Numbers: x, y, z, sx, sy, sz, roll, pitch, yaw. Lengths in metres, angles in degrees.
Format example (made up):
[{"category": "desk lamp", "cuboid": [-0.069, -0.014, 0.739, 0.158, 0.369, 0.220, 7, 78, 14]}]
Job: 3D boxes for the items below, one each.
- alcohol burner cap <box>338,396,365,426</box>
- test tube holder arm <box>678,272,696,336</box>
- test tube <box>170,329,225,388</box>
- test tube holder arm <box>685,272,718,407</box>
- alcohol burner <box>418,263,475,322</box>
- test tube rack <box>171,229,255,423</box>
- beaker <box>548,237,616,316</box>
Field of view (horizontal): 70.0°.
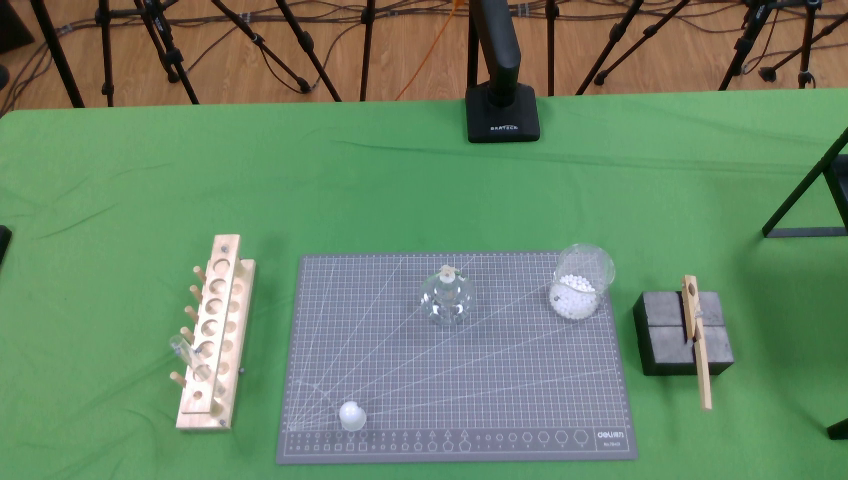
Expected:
[{"category": "alcohol burner cap", "cuboid": [-0.093, 0.213, 0.764, 0.034, 0.048, 0.033, 1, 60, -1]}, {"category": "test tube holder arm", "cuboid": [0.347, 0.084, 0.796, 0.010, 0.015, 0.087, -1, 62, 6]}, {"category": "test tube", "cuboid": [-0.268, 0.145, 0.726, 0.017, 0.151, 0.017, -1, 56, 2]}, {"category": "test tube holder arm", "cuboid": [0.352, 0.123, 0.774, 0.013, 0.015, 0.177, -3, 62, 4]}, {"category": "alcohol burner", "cuboid": [0.030, 0.062, 0.808, 0.078, 0.120, 0.077, -1, 61, 2]}, {"category": "test tube rack", "cuboid": [-0.283, 0.111, 0.803, 0.067, 0.086, 0.240, -1, 60, 1]}, {"category": "beaker", "cuboid": [0.206, 0.055, 0.818, 0.084, 0.101, 0.073, -21, 61, -10]}]
